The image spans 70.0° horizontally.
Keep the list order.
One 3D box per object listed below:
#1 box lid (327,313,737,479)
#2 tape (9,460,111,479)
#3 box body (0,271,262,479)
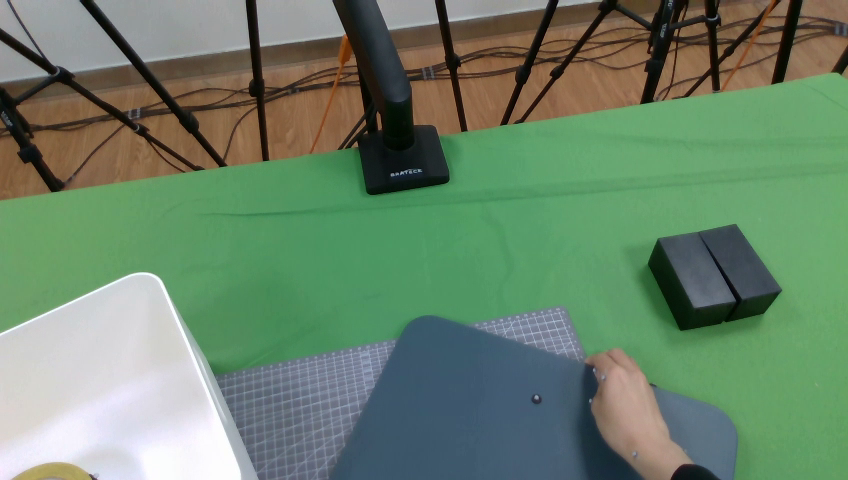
[{"bbox_3d":[0.108,0.226,0.601,0.370,0.015,0.262,16,55,16],"label":"box lid"},{"bbox_3d":[-0.345,0.266,0.559,0.117,0.053,0.115,-1,52,1],"label":"tape"},{"bbox_3d":[-0.342,0.229,0.526,0.364,0.162,0.251,-27,57,-17],"label":"box body"}]
